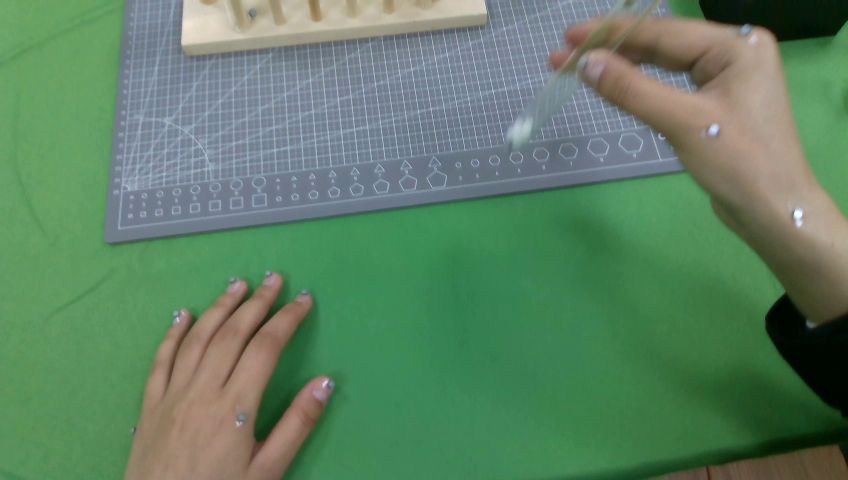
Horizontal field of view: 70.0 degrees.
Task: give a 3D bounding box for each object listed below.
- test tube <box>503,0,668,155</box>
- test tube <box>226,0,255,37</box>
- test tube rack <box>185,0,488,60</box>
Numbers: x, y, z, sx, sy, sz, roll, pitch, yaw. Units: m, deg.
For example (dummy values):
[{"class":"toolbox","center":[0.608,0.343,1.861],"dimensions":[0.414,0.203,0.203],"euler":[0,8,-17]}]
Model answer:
[{"class":"test tube","center":[0.081,-0.087,0.315],"dimensions":[0.017,0.150,0.017],"euler":[9,63,-19]},{"class":"test tube","center":[-0.139,-0.200,0.417],"dimensions":[0.017,0.151,0.017],"euler":[1,64,-2]},{"class":"test tube rack","center":[-0.073,-0.206,0.468],"dimensions":[0.242,0.086,0.066],"euler":[-7,65,-2]}]
